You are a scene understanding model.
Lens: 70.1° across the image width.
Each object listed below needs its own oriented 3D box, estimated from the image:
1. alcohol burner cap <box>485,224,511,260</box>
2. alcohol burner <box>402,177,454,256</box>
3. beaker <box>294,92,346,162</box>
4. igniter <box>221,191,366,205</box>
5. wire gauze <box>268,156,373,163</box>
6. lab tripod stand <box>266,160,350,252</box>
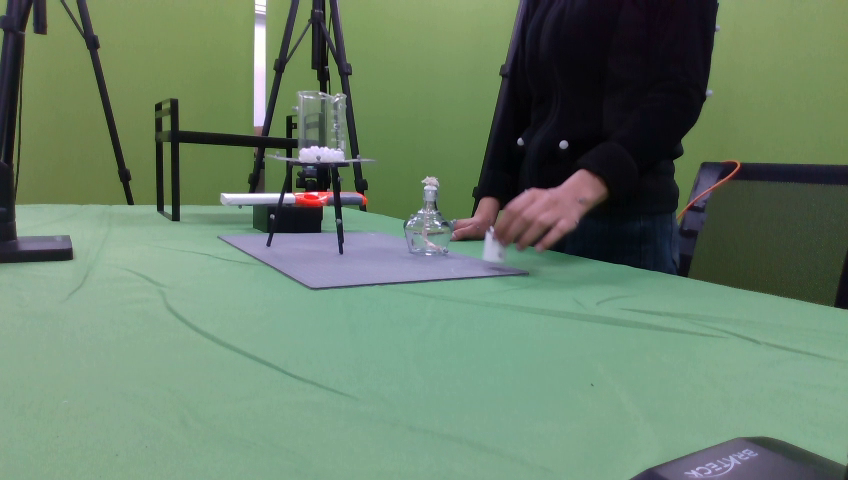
[{"bbox_3d":[0.099,0.002,0.804,0.034,0.048,0.034,-1,16,1],"label":"alcohol burner cap"},{"bbox_3d":[0.007,-0.036,0.915,0.078,0.119,0.078,4,6,0],"label":"alcohol burner"},{"bbox_3d":[-0.152,-0.165,0.896,0.074,0.100,0.083,-4,10,-33],"label":"beaker"},{"bbox_3d":[-0.240,-0.078,1.150,0.278,0.025,0.057,-3,20,-32],"label":"igniter"},{"bbox_3d":[-0.154,-0.119,0.910,0.122,0.011,0.124,-4,8,-45],"label":"wire gauze"},{"bbox_3d":[-0.163,-0.054,0.914,0.148,0.131,0.148,2,9,0],"label":"lab tripod stand"}]
